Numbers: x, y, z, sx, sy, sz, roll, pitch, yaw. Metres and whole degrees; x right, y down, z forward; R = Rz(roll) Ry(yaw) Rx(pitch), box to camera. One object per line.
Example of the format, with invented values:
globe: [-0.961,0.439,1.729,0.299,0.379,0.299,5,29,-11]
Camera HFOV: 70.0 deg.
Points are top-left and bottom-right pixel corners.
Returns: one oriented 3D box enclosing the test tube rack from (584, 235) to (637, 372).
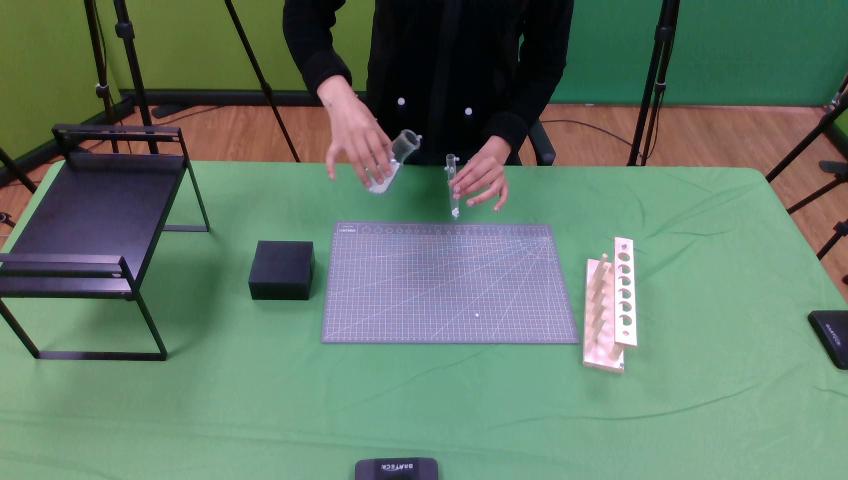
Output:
test tube rack: [0.329,0.103,1.073,0.067,0.085,0.241,11,47,7]

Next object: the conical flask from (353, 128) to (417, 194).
conical flask: [-0.061,-0.138,1.024,0.075,0.122,0.075,25,45,-28]

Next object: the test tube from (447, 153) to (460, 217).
test tube: [0.052,-0.096,1.082,0.017,0.151,0.017,-3,49,4]
